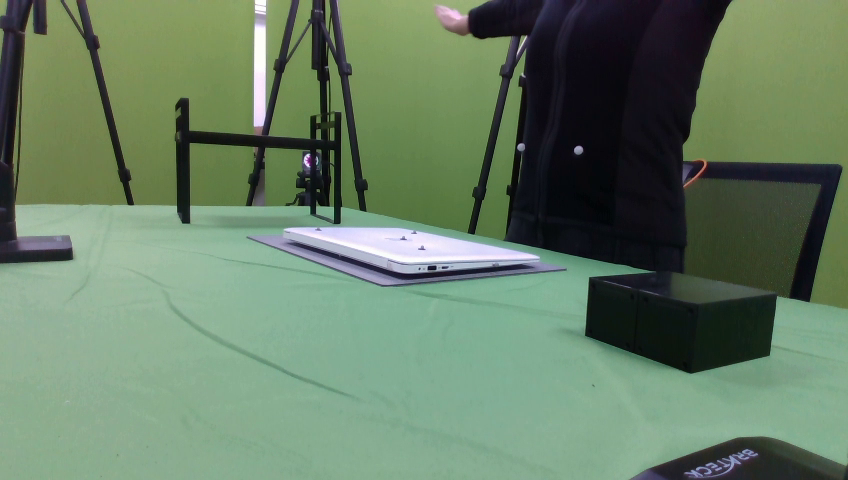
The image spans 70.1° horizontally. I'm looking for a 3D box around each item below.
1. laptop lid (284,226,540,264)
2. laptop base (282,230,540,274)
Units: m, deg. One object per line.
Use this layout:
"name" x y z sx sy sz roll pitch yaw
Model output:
"laptop lid" -0.032 0.002 0.895 0.243 0.013 0.355 0 8 -35
"laptop base" -0.034 0.014 0.895 0.237 0.023 0.352 1 7 -37
